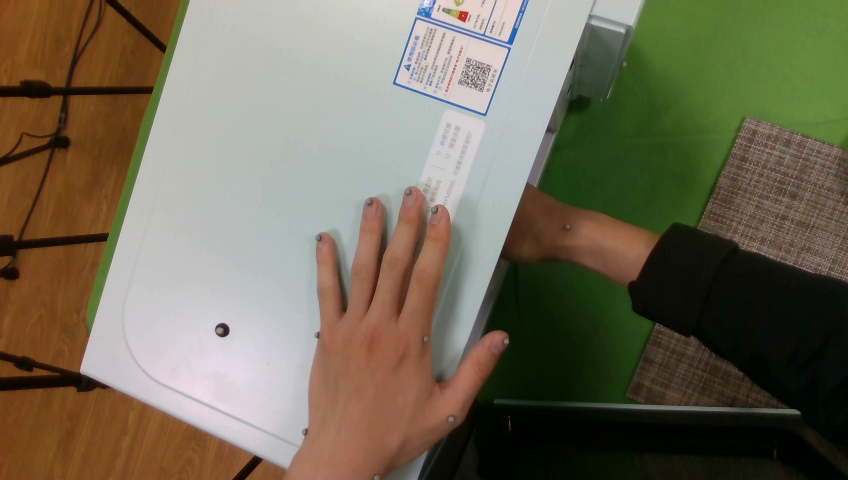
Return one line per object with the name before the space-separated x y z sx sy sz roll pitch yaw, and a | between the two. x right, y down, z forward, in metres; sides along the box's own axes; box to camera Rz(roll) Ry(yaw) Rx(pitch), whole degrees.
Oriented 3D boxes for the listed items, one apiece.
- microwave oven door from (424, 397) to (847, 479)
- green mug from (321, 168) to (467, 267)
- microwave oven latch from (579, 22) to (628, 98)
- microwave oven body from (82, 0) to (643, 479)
microwave oven door | 0.187 0.182 0.490 0.355 0.244 0.039 -2 91 12
green mug | -0.024 -0.019 0.546 0.125 0.105 0.092 3 95 6
microwave oven latch | 0.174 -0.179 0.581 0.030 0.029 0.079 21 97 10
microwave oven body | -0.042 -0.062 0.532 0.325 0.260 0.442 20 97 10
